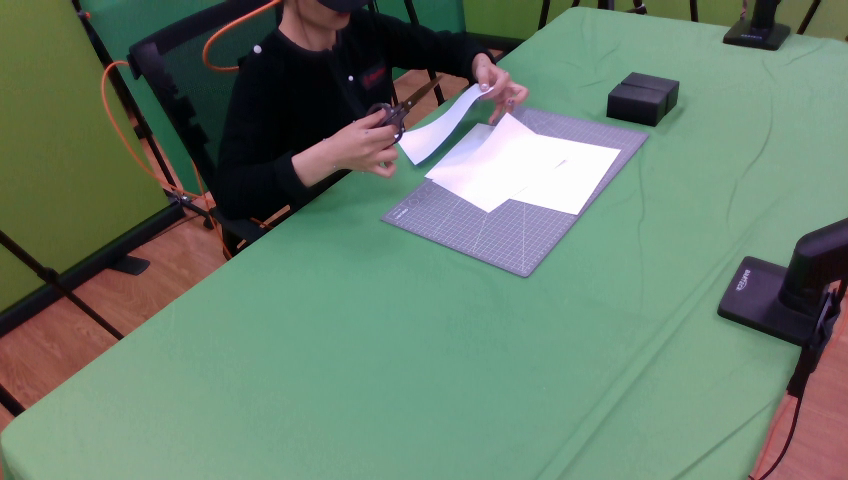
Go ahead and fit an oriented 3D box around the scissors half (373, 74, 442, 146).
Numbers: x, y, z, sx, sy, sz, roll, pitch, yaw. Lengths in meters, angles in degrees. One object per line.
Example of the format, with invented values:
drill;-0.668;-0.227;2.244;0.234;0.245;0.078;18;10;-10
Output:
scissors half;-0.026;-0.211;0.986;0.040;0.174;0.013;49;37;3

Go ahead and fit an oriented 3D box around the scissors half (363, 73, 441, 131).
scissors half;-0.038;-0.227;0.985;0.174;0.040;0.013;-22;14;35
